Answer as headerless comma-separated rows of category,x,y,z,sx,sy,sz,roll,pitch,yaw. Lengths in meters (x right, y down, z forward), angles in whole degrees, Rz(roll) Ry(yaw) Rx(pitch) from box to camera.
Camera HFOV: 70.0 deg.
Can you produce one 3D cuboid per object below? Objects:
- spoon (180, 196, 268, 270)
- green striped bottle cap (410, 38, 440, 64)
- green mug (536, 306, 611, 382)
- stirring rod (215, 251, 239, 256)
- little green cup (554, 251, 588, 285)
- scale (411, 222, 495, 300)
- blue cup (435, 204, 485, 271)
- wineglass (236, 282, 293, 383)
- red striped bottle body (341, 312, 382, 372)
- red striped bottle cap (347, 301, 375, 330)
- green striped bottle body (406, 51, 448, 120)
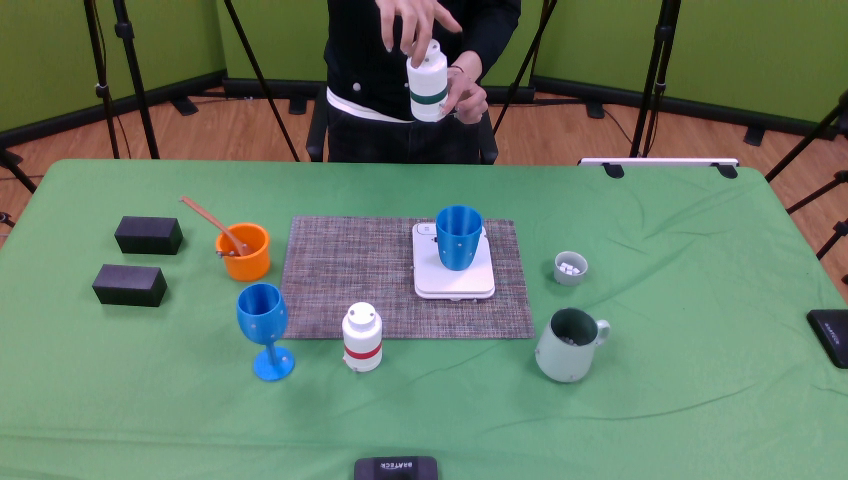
spoon,-0.360,-0.014,1.094,0.021,0.194,0.041,-28,26,31
green striped bottle cap,0.001,-0.285,0.915,0.044,0.020,0.044,-3,50,4
green mug,0.250,0.167,0.996,0.125,0.105,0.092,-15,48,-18
stirring rod,-0.339,0.024,1.059,0.014,0.176,0.006,16,86,-6
little green cup,0.277,0.055,1.151,0.061,0.039,0.061,1,46,-1
scale,0.052,0.031,1.158,0.149,0.032,0.199,1,46,-4
blue cup,0.061,0.001,1.097,0.092,0.101,0.092,1,44,0
wineglass,-0.243,0.143,0.934,0.074,0.173,0.073,2,46,-2
red striped bottle body,-0.100,0.154,0.972,0.063,0.120,0.062,2,46,-1
red striped bottle cap,-0.097,0.116,0.934,0.044,0.018,0.044,3,49,-3
green striped bottle body,0.005,-0.254,0.957,0.063,0.120,0.063,-2,51,3
